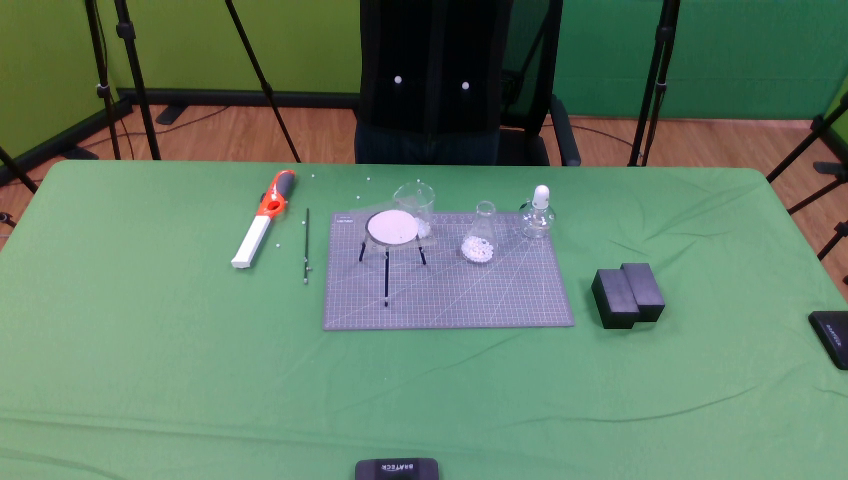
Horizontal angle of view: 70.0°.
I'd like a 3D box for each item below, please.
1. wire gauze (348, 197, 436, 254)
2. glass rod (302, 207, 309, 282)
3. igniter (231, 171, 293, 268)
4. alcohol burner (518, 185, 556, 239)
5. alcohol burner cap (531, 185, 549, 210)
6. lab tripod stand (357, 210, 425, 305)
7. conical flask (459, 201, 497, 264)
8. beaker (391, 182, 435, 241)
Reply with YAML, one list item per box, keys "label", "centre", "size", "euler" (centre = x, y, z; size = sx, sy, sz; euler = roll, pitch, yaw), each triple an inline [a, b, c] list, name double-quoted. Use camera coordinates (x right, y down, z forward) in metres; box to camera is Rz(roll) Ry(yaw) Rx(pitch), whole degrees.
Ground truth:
- label: "wire gauze"
  centre: [-0.056, -0.026, 1.045]
  size: [0.125, 0.011, 0.120]
  euler: [-12, 46, -17]
- label: "glass rod"
  centre: [-0.231, 0.004, 1.187]
  size: [0.008, 0.008, 0.198]
  euler: [-2, 47, -6]
- label: "igniter"
  centre: [-0.321, -0.051, 1.220]
  size: [0.057, 0.025, 0.275]
  euler: [2, 45, 11]
- label: "alcohol burner"
  centre: [0.227, -0.061, 1.210]
  size: [0.078, 0.120, 0.077]
  euler: [1, 44, -1]
- label: "alcohol burner cap"
  centre: [0.228, -0.085, 1.183]
  size: [0.034, 0.048, 0.033]
  euler: [-1, 48, 1]
- label: "lab tripod stand"
  centre: [-0.060, 0.020, 1.094]
  size: [0.148, 0.132, 0.147]
  euler: [3, 44, -2]
- label: "conical flask"
  centre: [0.109, -0.018, 1.153]
  size: [0.075, 0.122, 0.075]
  euler: [2, 46, -2]
- label: "beaker"
  centre: [-0.023, -0.053, 1.192]
  size: [0.084, 0.101, 0.073]
  euler: [-2, 46, -5]
